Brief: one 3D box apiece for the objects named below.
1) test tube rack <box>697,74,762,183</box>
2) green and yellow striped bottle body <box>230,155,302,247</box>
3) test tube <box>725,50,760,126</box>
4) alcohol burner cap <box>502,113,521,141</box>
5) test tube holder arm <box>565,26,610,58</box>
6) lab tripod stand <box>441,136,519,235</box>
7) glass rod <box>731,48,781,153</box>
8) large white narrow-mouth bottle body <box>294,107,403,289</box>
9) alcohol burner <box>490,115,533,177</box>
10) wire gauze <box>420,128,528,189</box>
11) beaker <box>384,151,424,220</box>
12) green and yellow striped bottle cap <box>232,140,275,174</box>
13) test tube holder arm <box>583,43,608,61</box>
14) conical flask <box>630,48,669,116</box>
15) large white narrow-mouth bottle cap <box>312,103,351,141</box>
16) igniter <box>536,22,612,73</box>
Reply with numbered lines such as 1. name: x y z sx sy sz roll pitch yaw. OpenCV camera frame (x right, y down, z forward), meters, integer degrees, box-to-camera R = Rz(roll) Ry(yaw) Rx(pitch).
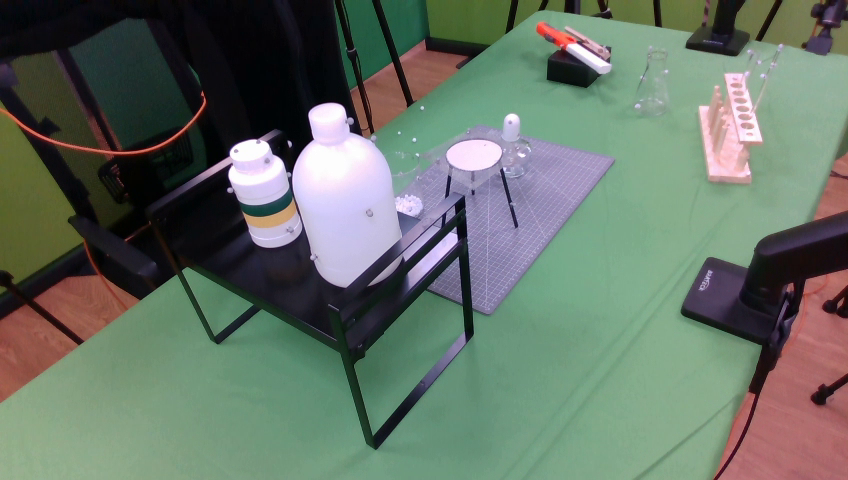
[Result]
1. test tube rack: 0.547 -0.208 1.095 0.066 0.085 0.242 5 42 15
2. green and yellow striped bottle body: -0.188 -0.055 0.714 0.063 0.120 0.063 -4 41 4
3. test tube: 0.570 -0.269 1.086 0.017 0.151 0.017 -1 45 2
4. alcohol burner cap: 0.155 -0.200 1.058 0.034 0.048 0.033 -1 50 2
5. test tube holder arm: 0.369 -0.451 1.373 0.013 0.015 0.177 -39 41 10
6. lab tripod stand: 0.083 -0.086 0.976 0.148 0.132 0.147 -4 42 4
7. glass rod: 0.554 -0.228 1.014 0.008 0.200 0.008 1 44 -1
8. large white narrow-mouth bottle body: -0.082 -0.047 0.634 0.102 0.195 0.101 -4 39 4
9. alcohol burner: 0.157 -0.173 1.083 0.078 0.119 0.077 -4 43 4
10. wire gauze: 0.076 -0.132 0.926 0.122 0.011 0.124 -34 47 -26
11. beaker: -0.038 -0.092 1.026 0.074 0.101 0.083 2 41 10
12. green and yellow striped bottle cap: -0.192 -0.094 0.680 0.045 0.020 0.045 -5 39 5
13. test tube holder arm: 0.379 -0.420 1.341 0.010 0.015 0.087 -39 41 10
14. conical flask: 0.456 -0.317 1.205 0.075 0.122 0.075 -4 40 4
15. large white narrow-mouth bottle cap: -0.089 -0.113 0.579 0.038 0.024 0.037 -3 39 3
16. igniter: 0.330 -0.439 1.366 0.057 0.025 0.274 -11 41 -20
